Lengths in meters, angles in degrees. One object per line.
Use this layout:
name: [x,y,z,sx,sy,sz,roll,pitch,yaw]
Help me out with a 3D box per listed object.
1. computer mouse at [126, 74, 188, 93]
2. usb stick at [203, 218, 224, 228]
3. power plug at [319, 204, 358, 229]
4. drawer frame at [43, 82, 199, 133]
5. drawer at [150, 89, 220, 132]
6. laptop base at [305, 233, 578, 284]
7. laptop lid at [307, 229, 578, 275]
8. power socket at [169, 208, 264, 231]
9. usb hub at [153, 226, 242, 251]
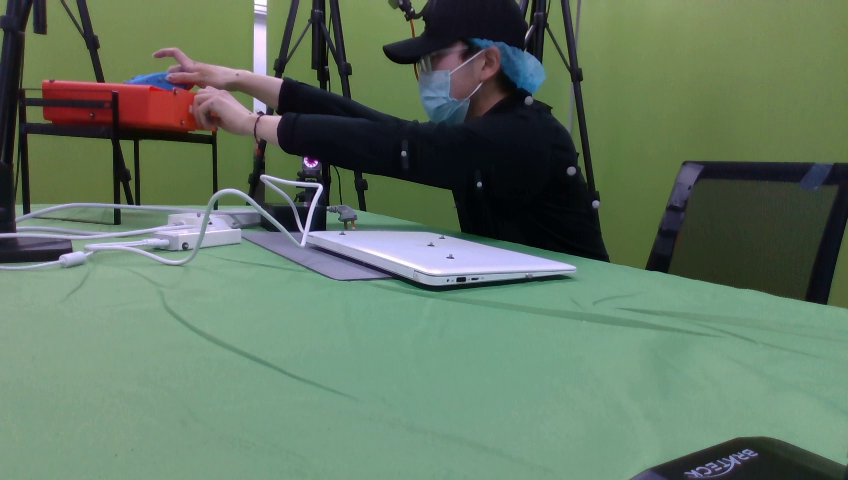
computer mouse: [-0.537,-0.309,1.214,0.118,0.041,0.062,-11,9,-29]
usb stick: [-0.346,-0.019,1.008,0.027,0.021,0.059,43,-6,1]
power plug: [-0.169,-0.045,1.205,0.072,0.052,0.035,-7,-10,1]
drawer frame: [-0.597,-0.263,1.217,0.213,0.082,0.201,2,7,3]
drawer: [-0.548,-0.261,1.213,0.212,0.073,0.194,3,9,5]
laptop base: [0.007,0.022,0.850,0.237,0.023,0.352,1,7,-34]
laptop lid: [0.009,0.010,0.850,0.243,0.013,0.355,0,8,-32]
power socket: [-0.381,-0.038,1.128,0.072,0.032,0.227,4,8,16]
usb hub: [-0.337,-0.003,0.907,0.049,0.025,0.125,6,9,28]
